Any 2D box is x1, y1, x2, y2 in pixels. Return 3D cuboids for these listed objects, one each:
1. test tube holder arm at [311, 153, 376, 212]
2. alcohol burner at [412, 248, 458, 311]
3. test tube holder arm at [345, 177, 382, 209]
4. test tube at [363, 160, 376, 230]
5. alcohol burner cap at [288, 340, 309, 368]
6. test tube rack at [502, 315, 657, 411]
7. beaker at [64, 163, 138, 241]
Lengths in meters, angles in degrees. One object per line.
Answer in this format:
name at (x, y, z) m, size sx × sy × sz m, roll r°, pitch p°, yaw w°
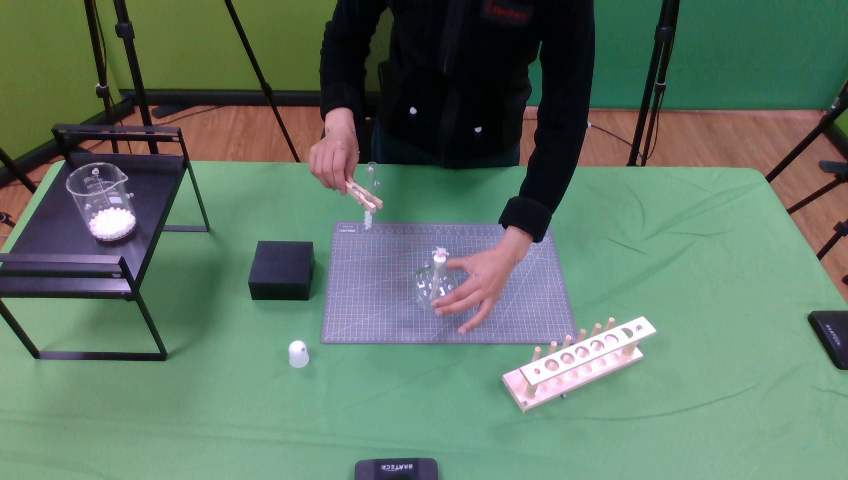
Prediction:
test tube holder arm at (-0.141, -0.102, 1.045) m, size 0.013 × 0.015 × 0.177 m, roll -29°, pitch 54°, yaw -34°
alcohol burner at (0.019, 0.059, 0.991) m, size 0.078 × 0.119 × 0.077 m, roll 5°, pitch 41°, yaw -4°
test tube holder arm at (-0.106, -0.081, 1.028) m, size 0.087 × 0.015 × 0.010 m, roll 33°, pitch 48°, yaw 24°
test tube at (-0.091, -0.072, 1.010) m, size 0.017 × 0.151 × 0.017 m, roll 5°, pitch 47°, yaw -5°
alcohol burner cap at (-0.207, 0.183, 0.991) m, size 0.034 × 0.048 × 0.033 m, roll 3°, pitch 47°, yaw -3°
test tube rack at (0.253, 0.186, 0.988) m, size 0.242 × 0.085 × 0.066 m, roll -18°, pitch 51°, yaw -20°
beaker at (-0.477, -0.055, 0.910) m, size 0.084 × 0.101 × 0.073 m, roll -9°, pitch 48°, yaw -13°
